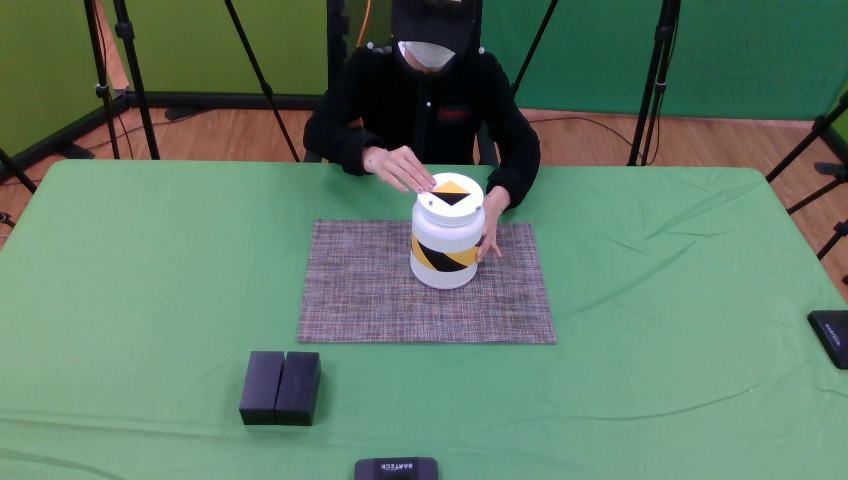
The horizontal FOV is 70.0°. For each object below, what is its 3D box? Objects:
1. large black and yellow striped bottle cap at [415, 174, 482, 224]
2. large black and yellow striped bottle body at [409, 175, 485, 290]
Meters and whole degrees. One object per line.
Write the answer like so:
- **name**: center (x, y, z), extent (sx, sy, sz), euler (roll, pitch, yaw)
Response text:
- **large black and yellow striped bottle cap**: center (0.043, -0.072, 1.037), extent (0.115, 0.019, 0.114), euler (3, 44, -3)
- **large black and yellow striped bottle body**: center (0.040, -0.014, 1.097), extent (0.131, 0.185, 0.130), euler (2, 46, -2)
